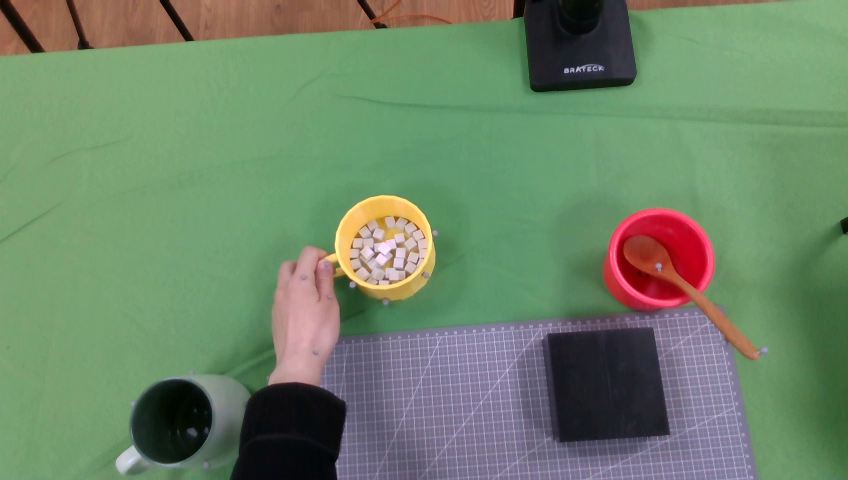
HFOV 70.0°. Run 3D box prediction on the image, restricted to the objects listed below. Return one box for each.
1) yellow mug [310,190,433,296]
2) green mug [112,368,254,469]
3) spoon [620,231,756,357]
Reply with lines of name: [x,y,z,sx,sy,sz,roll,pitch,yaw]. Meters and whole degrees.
yellow mug: [-0.057,0.010,0.637,0.131,0.064,0.099,-19,75,-1]
green mug: [-0.236,0.178,0.584,0.125,0.105,0.092,-36,76,-6]
spoon: [0.242,0.044,0.570,0.041,0.192,0.022,-18,120,-4]
